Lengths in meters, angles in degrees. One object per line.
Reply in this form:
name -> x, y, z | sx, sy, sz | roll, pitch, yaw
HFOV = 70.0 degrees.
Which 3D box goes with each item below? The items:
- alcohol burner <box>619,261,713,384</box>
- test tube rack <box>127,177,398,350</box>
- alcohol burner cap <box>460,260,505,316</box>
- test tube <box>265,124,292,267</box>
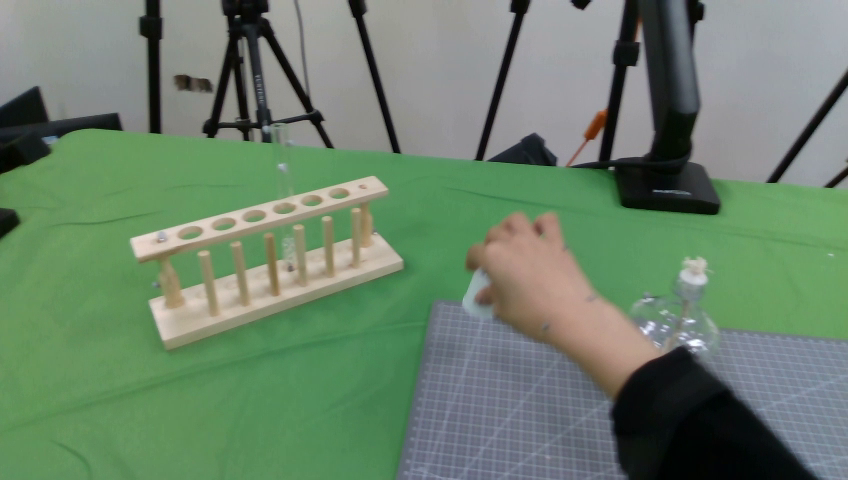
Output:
alcohol burner -> 0.209, 0.064, 0.513 | 0.078, 0.120, 0.077 | 2, 37, -1
test tube rack -> -0.148, 0.016, 0.597 | 0.243, 0.086, 0.066 | -18, 39, -26
alcohol burner cap -> 0.053, 0.038, 0.521 | 0.034, 0.048, 0.033 | 12, 36, -8
test tube -> -0.141, -0.039, 0.590 | 0.017, 0.151, 0.017 | 2, 29, -1
